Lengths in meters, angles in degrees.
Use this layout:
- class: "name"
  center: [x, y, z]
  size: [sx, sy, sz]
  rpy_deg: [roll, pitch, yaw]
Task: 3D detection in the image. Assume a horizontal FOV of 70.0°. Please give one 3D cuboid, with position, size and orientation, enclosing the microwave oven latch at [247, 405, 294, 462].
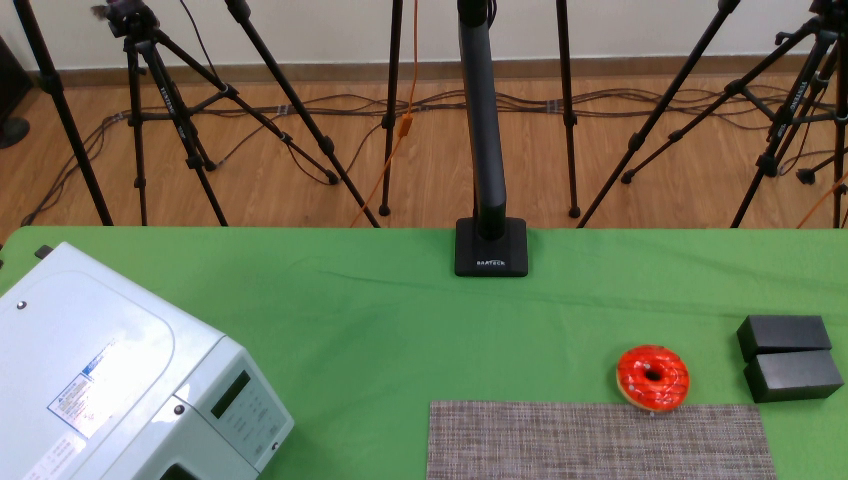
- class: "microwave oven latch"
  center: [-0.208, 0.256, 0.815]
  size: [0.030, 0.030, 0.079]
  rpy_deg: [26, 61, 20]

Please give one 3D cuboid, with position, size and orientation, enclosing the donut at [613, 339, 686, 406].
- class: "donut"
  center: [0.314, 0.184, 0.845]
  size: [0.099, 0.049, 0.098]
  rpy_deg: [-4, 51, 6]

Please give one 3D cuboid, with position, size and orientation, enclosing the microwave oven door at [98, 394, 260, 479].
- class: "microwave oven door"
  center: [-0.329, 0.352, 0.630]
  size: [0.039, 0.246, 0.354]
  rpy_deg: [24, 60, 21]

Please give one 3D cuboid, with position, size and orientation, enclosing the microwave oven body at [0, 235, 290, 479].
- class: "microwave oven body"
  center: [-0.433, 0.269, 0.703]
  size: [0.324, 0.262, 0.440]
  rpy_deg: [24, 60, 20]
